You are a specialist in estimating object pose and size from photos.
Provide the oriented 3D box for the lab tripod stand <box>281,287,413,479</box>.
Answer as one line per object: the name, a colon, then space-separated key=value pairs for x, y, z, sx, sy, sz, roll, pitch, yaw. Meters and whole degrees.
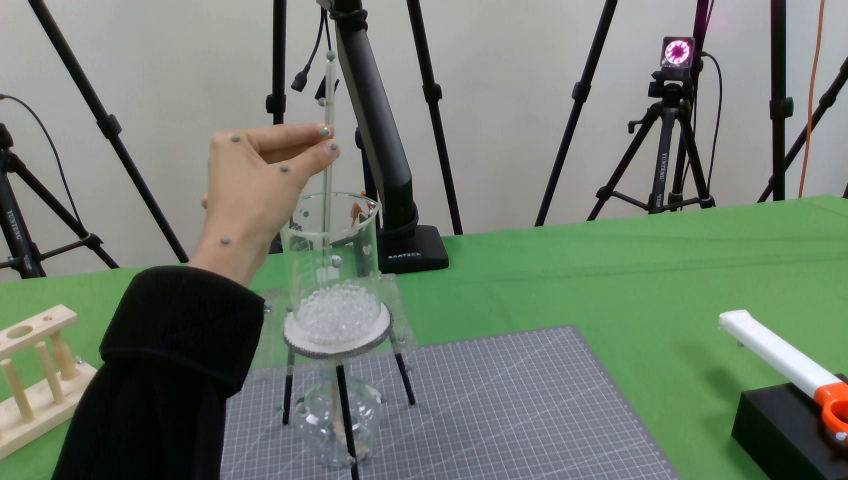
lab tripod stand: x=-0.067 y=0.121 z=0.521 sx=0.148 sy=0.132 sz=0.147 roll=0 pitch=29 yaw=0

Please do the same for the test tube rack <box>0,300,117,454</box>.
test tube rack: x=-0.418 y=0.153 z=0.542 sx=0.066 sy=0.086 sz=0.242 roll=17 pitch=33 yaw=32

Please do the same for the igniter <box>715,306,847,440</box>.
igniter: x=0.338 y=0.129 z=0.497 sx=0.057 sy=0.025 sz=0.274 roll=-8 pitch=25 yaw=-9

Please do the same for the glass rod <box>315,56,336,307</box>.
glass rod: x=-0.076 y=-0.036 z=0.460 sx=0.008 sy=0.201 sz=0.008 roll=6 pitch=24 yaw=-2

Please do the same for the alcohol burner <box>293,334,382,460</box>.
alcohol burner: x=-0.076 y=0.131 z=0.524 sx=0.078 sy=0.120 sz=0.077 roll=0 pitch=27 yaw=0

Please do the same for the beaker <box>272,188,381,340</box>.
beaker: x=-0.069 y=0.019 z=0.470 sx=0.084 sy=0.101 sz=0.073 roll=-17 pitch=33 yaw=-28

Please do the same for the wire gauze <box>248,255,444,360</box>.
wire gauze: x=-0.065 y=0.050 z=0.480 sx=0.125 sy=0.011 sz=0.120 roll=-13 pitch=27 yaw=-29
